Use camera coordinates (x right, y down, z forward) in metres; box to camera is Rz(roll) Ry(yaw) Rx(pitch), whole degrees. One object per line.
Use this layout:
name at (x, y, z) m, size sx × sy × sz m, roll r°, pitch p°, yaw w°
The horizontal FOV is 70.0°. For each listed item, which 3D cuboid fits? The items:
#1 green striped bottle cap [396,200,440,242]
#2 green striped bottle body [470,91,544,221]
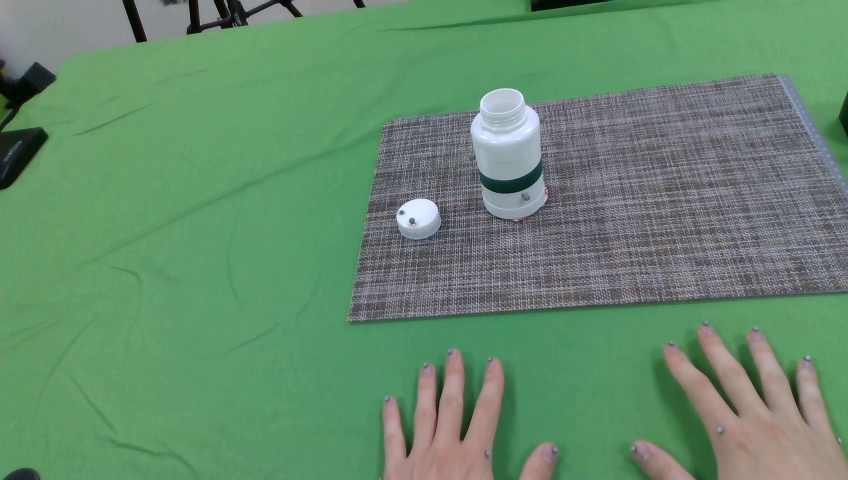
green striped bottle cap at (-0.006, -0.020, 0.613) m, size 0.044 × 0.020 × 0.044 m, roll -6°, pitch 47°, yaw 6°
green striped bottle body at (0.079, -0.080, 0.572) m, size 0.063 × 0.120 × 0.062 m, roll -8°, pitch 46°, yaw 9°
